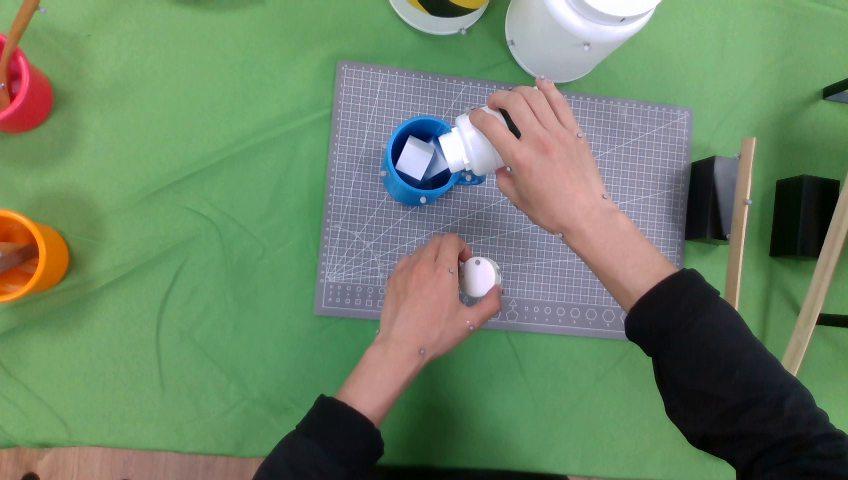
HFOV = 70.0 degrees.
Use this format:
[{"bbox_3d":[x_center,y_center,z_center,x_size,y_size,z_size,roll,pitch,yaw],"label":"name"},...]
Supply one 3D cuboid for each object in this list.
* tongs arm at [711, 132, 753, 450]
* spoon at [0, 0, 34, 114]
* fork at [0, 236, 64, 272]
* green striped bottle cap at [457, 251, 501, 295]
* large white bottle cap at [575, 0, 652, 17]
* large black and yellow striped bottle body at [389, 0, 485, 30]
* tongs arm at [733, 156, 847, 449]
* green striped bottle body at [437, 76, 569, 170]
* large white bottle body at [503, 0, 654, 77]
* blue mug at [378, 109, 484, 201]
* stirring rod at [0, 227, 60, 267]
[{"bbox_3d":[0.378,0.067,0.723,0.051,0.026,0.385,1,100,-11],"label":"tongs arm"},{"bbox_3d":[-0.410,-0.188,0.595,0.194,0.021,0.041,-38,90,36],"label":"spoon"},{"bbox_3d":[-0.456,-0.009,0.580,0.209,0.018,0.028,30,80,-50],"label":"fork"},{"bbox_3d":[0.057,0.035,0.635,0.044,0.020,0.044,-7,74,24],"label":"green striped bottle cap"},{"bbox_3d":[0.182,-0.272,0.579,0.115,0.018,0.114,0,88,-9],"label":"large white bottle cap"},{"bbox_3d":[0.025,-0.319,0.643,0.131,0.184,0.130,0,87,-8],"label":"large black and yellow striped bottle body"},{"bbox_3d":[0.459,0.076,0.737,0.028,0.027,0.388,14,98,-16],"label":"tongs arm"},{"bbox_3d":[0.074,-0.110,0.590,0.119,0.063,0.063,-20,91,2],"label":"green striped bottle body"},{"bbox_3d":[0.170,-0.268,0.662,0.131,0.184,0.130,0,88,-8],"label":"large white bottle body"},{"bbox_3d":[0.009,-0.086,0.670,0.117,0.106,0.082,13,86,-8],"label":"blue mug"},{"bbox_3d":[-0.437,0.031,0.588,0.014,0.006,0.175,53,40,-7],"label":"stirring rod"}]
